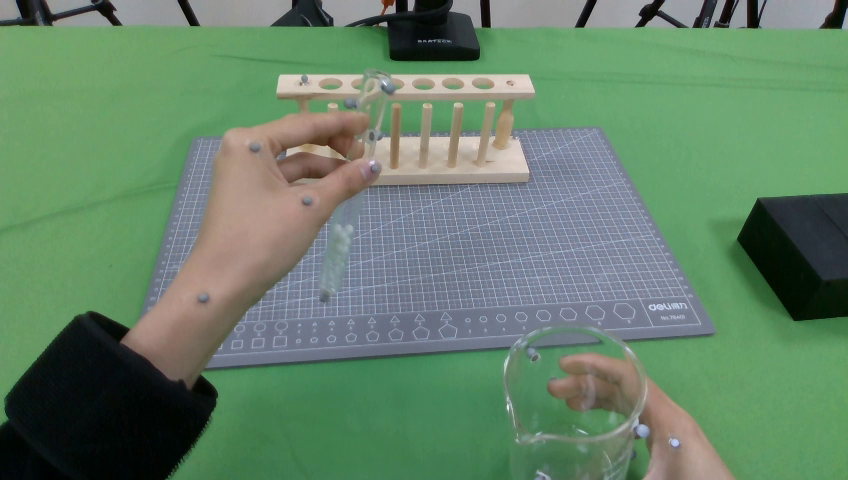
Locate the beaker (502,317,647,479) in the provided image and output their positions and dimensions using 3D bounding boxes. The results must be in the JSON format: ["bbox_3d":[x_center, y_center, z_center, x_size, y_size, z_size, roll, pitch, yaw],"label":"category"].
[{"bbox_3d":[0.081,0.107,0.347,0.084,0.101,0.073,-37,49,-28],"label":"beaker"}]

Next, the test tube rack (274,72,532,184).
[{"bbox_3d":[-0.019,-0.111,0.595,0.243,0.086,0.066,-2,44,-5],"label":"test tube rack"}]

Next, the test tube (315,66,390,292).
[{"bbox_3d":[-0.046,-0.030,0.366,0.017,0.151,0.017,14,29,-7],"label":"test tube"}]
